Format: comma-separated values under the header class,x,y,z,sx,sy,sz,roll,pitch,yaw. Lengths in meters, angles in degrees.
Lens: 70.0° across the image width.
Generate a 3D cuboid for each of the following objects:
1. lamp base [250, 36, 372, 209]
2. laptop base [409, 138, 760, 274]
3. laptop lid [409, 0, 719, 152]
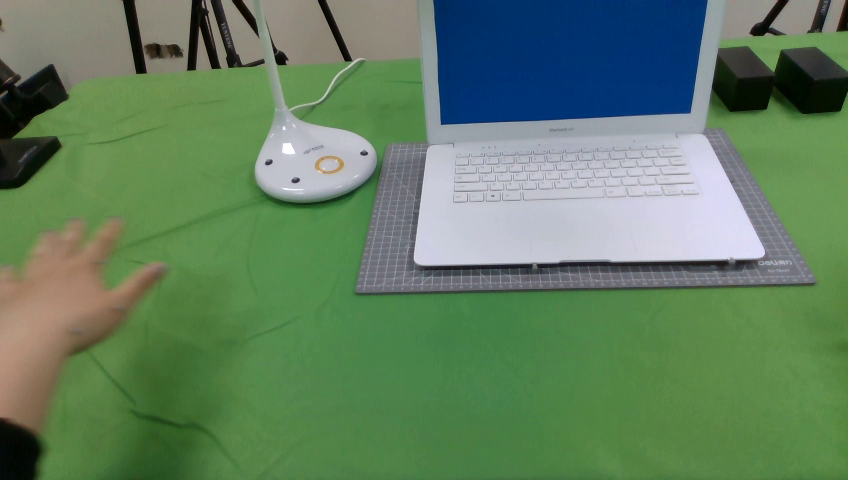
class,x,y,z,sx,sy,sz,roll,pitch,yaw
lamp base,-0.165,-0.155,0.758,0.177,0.182,0.160,25,48,36
laptop base,0.166,-0.042,0.702,0.354,0.023,0.233,-2,42,5
laptop lid,0.163,-0.218,0.731,0.356,0.244,0.013,-3,31,6
